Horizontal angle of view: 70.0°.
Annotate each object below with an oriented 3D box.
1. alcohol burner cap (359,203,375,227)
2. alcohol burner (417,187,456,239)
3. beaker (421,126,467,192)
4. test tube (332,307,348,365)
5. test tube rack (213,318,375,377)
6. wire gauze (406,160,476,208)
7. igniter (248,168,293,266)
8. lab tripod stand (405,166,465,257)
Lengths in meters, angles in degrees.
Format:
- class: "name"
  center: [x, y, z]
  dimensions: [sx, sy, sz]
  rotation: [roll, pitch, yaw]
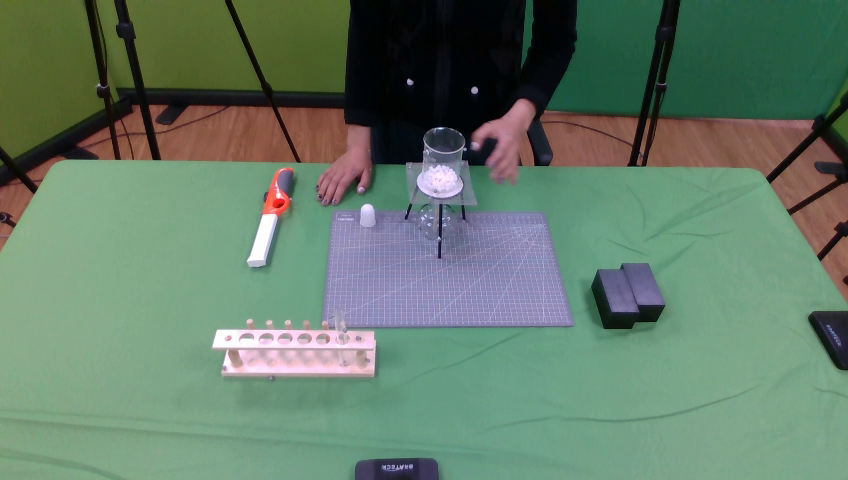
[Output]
- class: "alcohol burner cap"
  center: [-0.115, -0.053, 1.224]
  dimensions: [0.034, 0.048, 0.033]
  rotation: [3, 47, -3]
- class: "alcohol burner"
  center: [0.026, -0.059, 1.189]
  dimensions: [0.078, 0.120, 0.077]
  rotation: [1, 48, -1]
- class: "beaker"
  center: [0.031, -0.146, 1.100]
  dimensions: [0.074, 0.101, 0.083]
  rotation: [-16, 50, -19]
- class: "test tube"
  center: [-0.128, 0.151, 0.931]
  dimensions: [0.017, 0.151, 0.017]
  rotation: [1, 50, -2]
- class: "test tube rack"
  center: [-0.202, 0.169, 0.977]
  dimensions: [0.242, 0.085, 0.066]
  rotation: [1, 46, -3]
- class: "wire gauze"
  center: [0.030, -0.107, 1.130]
  dimensions: [0.125, 0.011, 0.120]
  rotation: [1, 48, -7]
- class: "igniter"
  center: [-0.307, -0.055, 1.225]
  dimensions: [0.057, 0.025, 0.275]
  rotation: [-3, 45, 6]
- class: "lab tripod stand"
  center: [0.030, -0.063, 1.180]
  dimensions: [0.148, 0.132, 0.147]
  rotation: [3, 47, -3]
